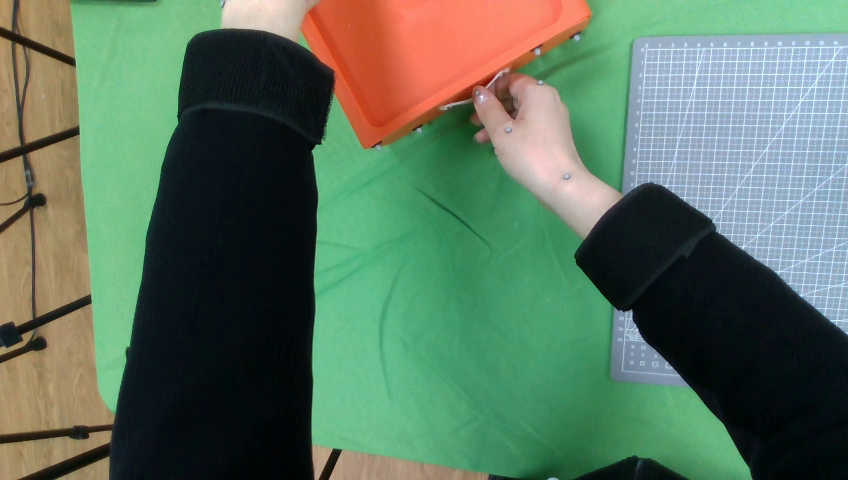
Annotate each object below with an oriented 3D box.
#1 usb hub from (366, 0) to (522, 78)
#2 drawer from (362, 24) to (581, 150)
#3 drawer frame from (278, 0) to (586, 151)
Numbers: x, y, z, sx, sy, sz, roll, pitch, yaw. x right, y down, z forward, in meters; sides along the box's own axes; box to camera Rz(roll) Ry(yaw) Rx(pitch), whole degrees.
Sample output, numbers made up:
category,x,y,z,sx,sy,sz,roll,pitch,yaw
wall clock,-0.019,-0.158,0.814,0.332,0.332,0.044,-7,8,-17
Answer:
category,x,y,z,sx,sy,sz,roll,pitch,yaw
usb hub,0.017,-0.188,0.501,0.125,0.025,0.049,-27,95,17
drawer,-0.009,-0.209,0.486,0.194,0.073,0.212,-28,94,16
drawer frame,-0.011,-0.210,0.483,0.201,0.082,0.214,-28,94,16
